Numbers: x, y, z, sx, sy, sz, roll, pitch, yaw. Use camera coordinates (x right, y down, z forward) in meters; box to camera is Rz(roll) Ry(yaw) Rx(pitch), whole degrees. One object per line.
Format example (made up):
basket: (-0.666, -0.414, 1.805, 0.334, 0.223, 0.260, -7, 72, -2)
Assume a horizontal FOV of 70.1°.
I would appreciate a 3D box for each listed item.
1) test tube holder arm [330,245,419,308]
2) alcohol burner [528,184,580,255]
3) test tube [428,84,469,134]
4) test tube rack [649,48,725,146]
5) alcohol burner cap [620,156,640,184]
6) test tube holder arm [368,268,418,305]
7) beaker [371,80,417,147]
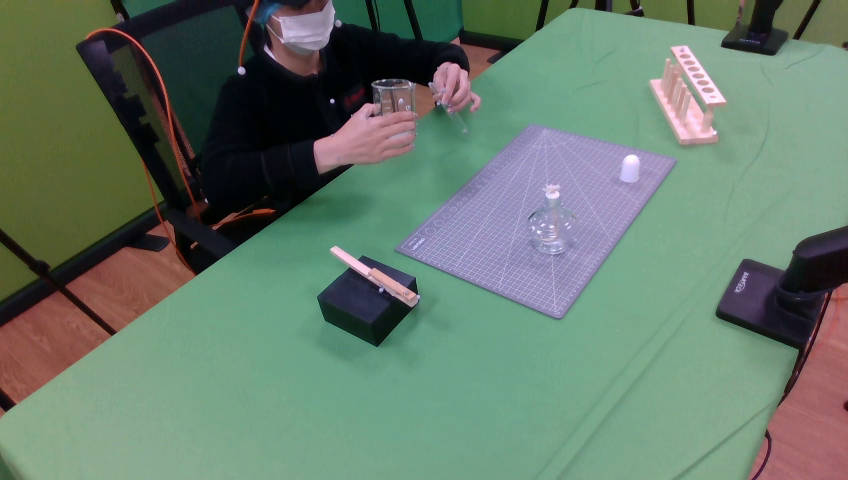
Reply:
test tube holder arm: (-0.074, 0.049, 0.857, 0.015, 0.013, 0.177, -37, 48, -29)
alcohol burner: (0.196, -0.036, 0.911, 0.078, 0.119, 0.077, -6, 41, 5)
test tube: (0.047, -0.237, 1.110, 0.017, 0.151, 0.017, -11, 63, 24)
test tube rack: (0.508, -0.285, 1.186, 0.067, 0.085, 0.241, -4, 40, 6)
alcohol burner cap: (0.358, -0.124, 1.047, 0.034, 0.048, 0.033, -4, 40, 4)
test tube holder arm: (-0.043, 0.063, 0.827, 0.015, 0.010, 0.087, -36, 47, -29)
beaker: (-0.048, -0.214, 1.019, 0.084, 0.100, 0.073, -17, 30, -37)
